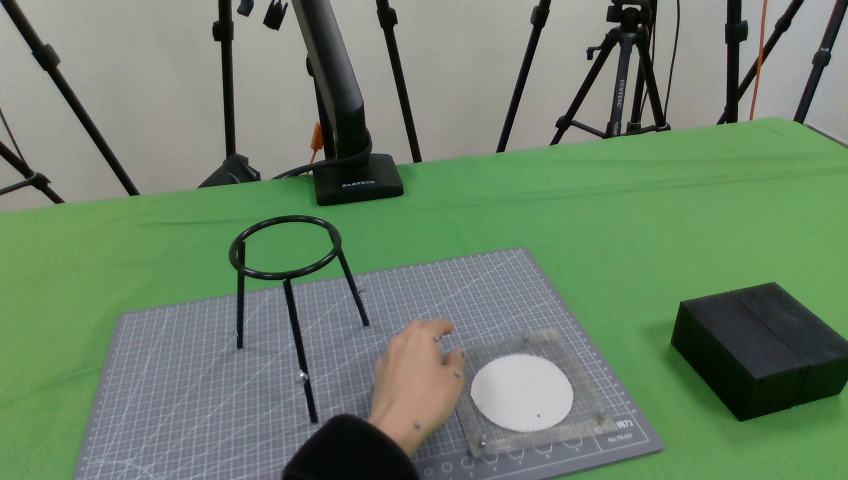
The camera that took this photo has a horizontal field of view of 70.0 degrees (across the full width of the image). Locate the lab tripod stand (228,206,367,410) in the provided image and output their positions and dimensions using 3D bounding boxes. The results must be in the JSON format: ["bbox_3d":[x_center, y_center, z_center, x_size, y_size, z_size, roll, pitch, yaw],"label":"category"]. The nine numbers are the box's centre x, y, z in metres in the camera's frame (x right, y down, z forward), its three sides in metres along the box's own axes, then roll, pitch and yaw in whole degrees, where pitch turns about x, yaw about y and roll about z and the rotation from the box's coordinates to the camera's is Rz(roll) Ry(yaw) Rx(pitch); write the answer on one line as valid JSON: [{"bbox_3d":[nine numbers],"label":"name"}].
[{"bbox_3d":[-0.110,0.051,0.526,0.148,0.132,0.147,0,35,0],"label":"lab tripod stand"}]

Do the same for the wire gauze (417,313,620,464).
[{"bbox_3d":[0.077,0.114,0.509,0.122,0.011,0.123,-19,43,-27],"label":"wire gauze"}]
